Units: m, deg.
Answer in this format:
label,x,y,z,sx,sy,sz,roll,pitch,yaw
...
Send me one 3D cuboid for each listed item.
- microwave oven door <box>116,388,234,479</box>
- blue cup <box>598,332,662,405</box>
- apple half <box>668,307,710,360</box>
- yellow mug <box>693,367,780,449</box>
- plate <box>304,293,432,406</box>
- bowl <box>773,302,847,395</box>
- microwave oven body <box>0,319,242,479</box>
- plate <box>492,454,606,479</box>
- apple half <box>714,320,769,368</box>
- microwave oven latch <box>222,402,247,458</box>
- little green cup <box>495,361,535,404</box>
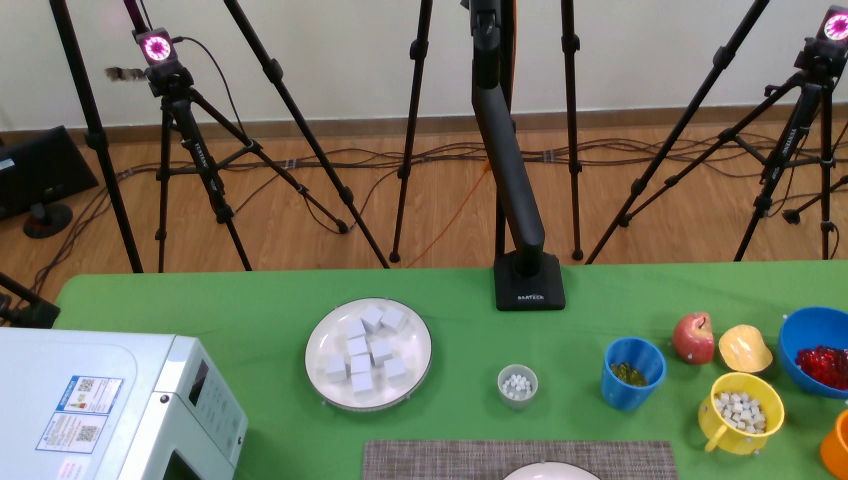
label,x,y,z,sx,sy,sz,roll,pitch,yaw
microwave oven door,-0.311,0.379,0.677,0.039,0.246,0.352,2,50,5
blue cup,0.301,0.200,0.910,0.092,0.101,0.091,-1,51,2
apple half,0.418,0.150,0.965,0.053,0.075,0.080,1,54,10
yellow mug,0.443,0.253,0.879,0.131,0.064,0.099,-35,56,-22
plate,-0.090,0.180,0.992,0.207,0.039,0.205,-2,49,2
bowl,0.605,0.178,0.926,0.151,0.077,0.150,-2,50,3
microwave oven body,-0.453,0.346,0.720,0.326,0.262,0.437,2,51,5
plate,0.169,0.389,0.794,0.209,0.038,0.207,-2,50,2
apple half,0.501,0.171,0.968,0.081,0.033,0.080,-5,63,9
microwave oven latch,-0.286,0.279,0.895,0.030,0.030,0.078,4,51,6
little green cup,0.141,0.223,0.942,0.061,0.039,0.061,-2,49,2
